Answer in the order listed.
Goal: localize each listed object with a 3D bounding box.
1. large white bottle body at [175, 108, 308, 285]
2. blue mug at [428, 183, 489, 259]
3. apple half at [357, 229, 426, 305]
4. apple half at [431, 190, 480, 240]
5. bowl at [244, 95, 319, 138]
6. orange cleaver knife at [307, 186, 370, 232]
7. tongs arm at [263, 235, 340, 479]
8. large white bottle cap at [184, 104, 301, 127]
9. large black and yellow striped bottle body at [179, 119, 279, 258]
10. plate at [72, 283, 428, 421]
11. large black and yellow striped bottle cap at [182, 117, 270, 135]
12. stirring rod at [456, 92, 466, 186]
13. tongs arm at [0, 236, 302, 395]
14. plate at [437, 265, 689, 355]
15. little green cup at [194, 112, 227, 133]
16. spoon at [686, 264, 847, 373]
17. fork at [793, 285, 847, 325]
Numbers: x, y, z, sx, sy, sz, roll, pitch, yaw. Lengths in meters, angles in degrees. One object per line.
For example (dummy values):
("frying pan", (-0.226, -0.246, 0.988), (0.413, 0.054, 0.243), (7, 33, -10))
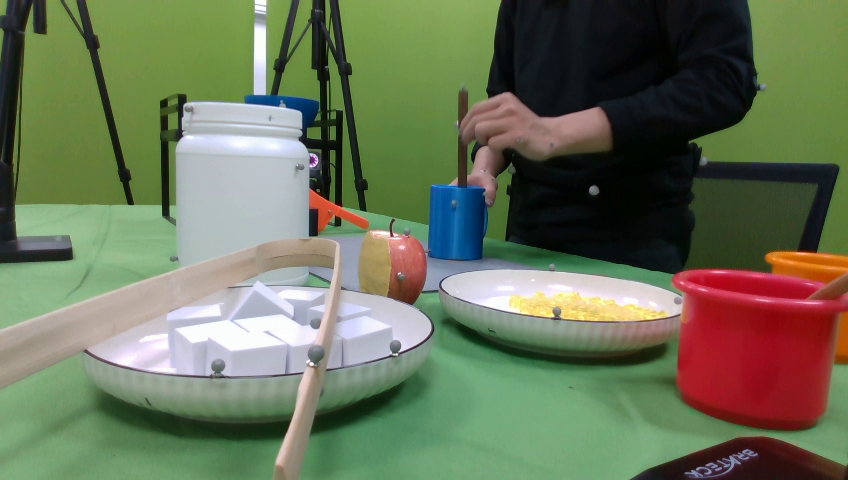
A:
("large white bottle body", (-0.188, -0.042, 0.630), (0.131, 0.184, 0.130), (2, 8, 0))
("blue mug", (0.059, -0.031, 0.907), (0.082, 0.106, 0.117), (9, 10, 42))
("apple half", (-0.026, 0.028, 0.570), (0.053, 0.074, 0.080), (3, 2, -28))
("apple half", (0.046, -0.040, 0.903), (0.081, 0.081, 0.032), (2, 17, -5))
("bowl", (-0.293, -0.251, 1.249), (0.151, 0.077, 0.151), (2, 7, 0))
("orange cleaver knife", (-0.197, -0.056, 1.141), (0.212, 0.077, 0.012), (29, 0, -34))
("tongs arm", (-0.074, 0.039, 0.349), (0.051, 0.026, 0.384), (-2, 10, -3))
("large white bottle cap", (-0.184, -0.126, 0.618), (0.115, 0.018, 0.115), (2, 8, 0))
("large black and yellow striped bottle body", (-0.271, -0.074, 0.846), (0.131, 0.184, 0.130), (0, 9, 0))
("plate", (-0.102, 0.066, 0.381), (0.208, 0.039, 0.207), (2, 7, 0))
("large black and yellow striped bottle cap", (-0.272, -0.156, 0.833), (0.115, 0.019, 0.115), (1, 7, 0))
("stirring rod", (0.053, -0.120, 0.857), (0.014, 0.176, 0.006), (2, 13, 12))
("tongs arm", (-0.157, 0.038, 0.351), (0.028, 0.028, 0.388), (-3, 8, 12))
("plate", (0.114, 0.057, 0.517), (0.209, 0.038, 0.209), (3, 8, 0))
("little green cup", (-0.412, -0.228, 1.171), (0.061, 0.038, 0.061), (2, 8, 0))
("spoon", (0.214, 0.032, 0.328), (0.042, 0.021, 0.193), (-3, -35, -26))
("fork", (0.331, 0.018, 0.442), (0.028, 0.018, 0.207), (-2, -36, -15))
